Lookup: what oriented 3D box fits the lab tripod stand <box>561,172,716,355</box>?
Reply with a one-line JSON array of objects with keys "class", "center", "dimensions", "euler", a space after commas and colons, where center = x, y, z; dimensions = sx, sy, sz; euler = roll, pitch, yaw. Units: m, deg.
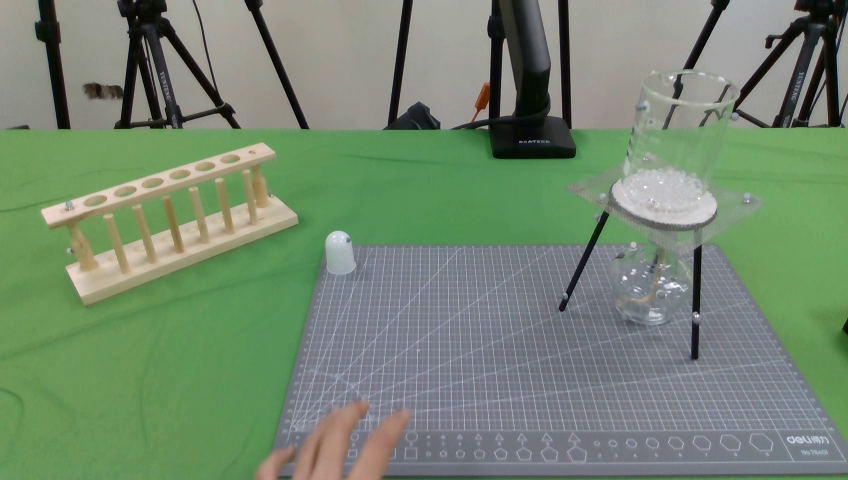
[{"class": "lab tripod stand", "center": [0.211, 0.017, 0.561], "dimensions": [0.148, 0.132, 0.147], "euler": [1, 36, 0]}]

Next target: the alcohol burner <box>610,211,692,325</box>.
[{"class": "alcohol burner", "center": [0.218, 0.022, 0.572], "dimensions": [0.078, 0.120, 0.077], "euler": [0, 38, 0]}]

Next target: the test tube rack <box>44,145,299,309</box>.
[{"class": "test tube rack", "center": [-0.268, -0.022, 0.673], "dimensions": [0.243, 0.086, 0.066], "euler": [-25, 41, -30]}]

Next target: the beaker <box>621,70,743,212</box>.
[{"class": "beaker", "center": [0.206, -0.082, 0.502], "dimensions": [0.074, 0.101, 0.083], "euler": [-4, 36, -6]}]

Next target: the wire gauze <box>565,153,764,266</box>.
[{"class": "wire gauze", "center": [0.205, -0.036, 0.522], "dimensions": [0.121, 0.011, 0.123], "euler": [-24, 45, -27]}]

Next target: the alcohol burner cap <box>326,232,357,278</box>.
[{"class": "alcohol burner cap", "center": [-0.090, 0.014, 0.652], "dimensions": [0.034, 0.048, 0.033], "euler": [0, 36, 0]}]
